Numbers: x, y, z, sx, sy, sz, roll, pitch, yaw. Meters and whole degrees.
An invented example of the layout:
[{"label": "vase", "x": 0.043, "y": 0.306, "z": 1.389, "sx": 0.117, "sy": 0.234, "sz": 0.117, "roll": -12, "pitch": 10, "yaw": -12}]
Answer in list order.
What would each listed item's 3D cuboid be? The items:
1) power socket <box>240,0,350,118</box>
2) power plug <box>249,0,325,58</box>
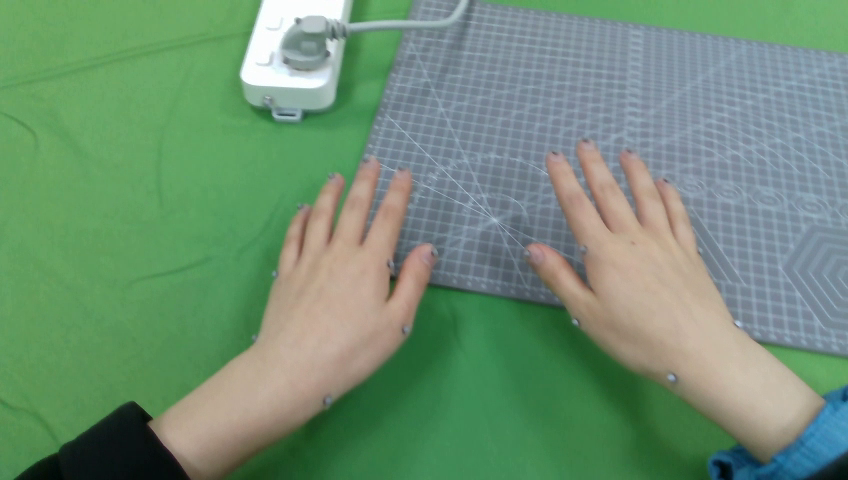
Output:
[{"label": "power socket", "x": -0.105, "y": -0.201, "z": 0.530, "sx": 0.072, "sy": 0.033, "sz": 0.224, "roll": 4, "pitch": 59, "yaw": 0}, {"label": "power plug", "x": -0.096, "y": -0.168, "z": 0.454, "sx": 0.035, "sy": 0.073, "sz": 0.052, "roll": 25, "pitch": 70, "yaw": 12}]
